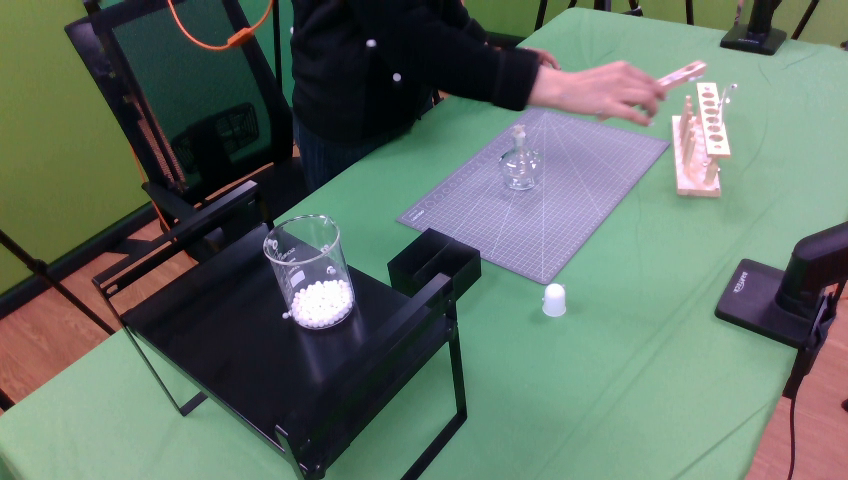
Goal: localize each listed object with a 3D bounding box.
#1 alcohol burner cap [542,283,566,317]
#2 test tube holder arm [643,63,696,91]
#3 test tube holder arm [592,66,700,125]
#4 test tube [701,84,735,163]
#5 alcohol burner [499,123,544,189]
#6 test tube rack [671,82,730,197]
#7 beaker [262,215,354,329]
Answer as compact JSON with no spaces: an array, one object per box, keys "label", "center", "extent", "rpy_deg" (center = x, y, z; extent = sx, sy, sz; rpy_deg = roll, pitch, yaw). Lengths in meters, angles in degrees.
[{"label":"alcohol burner cap","center":[0.182,0.081,0.839],"extent":[0.034,0.048,0.033],"rpy_deg":[-4,41,4]},{"label":"test tube holder arm","center":[0.352,-0.230,0.867],"extent":[0.088,0.015,0.010],"rpy_deg":[-27,46,-9]},{"label":"test tube holder arm","center":[0.315,-0.206,0.856],"extent":[0.179,0.015,0.013],"rpy_deg":[-27,46,-10]},{"label":"test tube","center":[0.483,-0.189,0.996],"extent":[0.017,0.151,0.017],"rpy_deg":[-2,46,3]},{"label":"alcohol burner","center":[0.168,-0.149,1.048],"extent":[0.078,0.119,0.077],"rpy_deg":[-6,41,6]},{"label":"test tube rack","center":[0.482,-0.184,1.067],"extent":[0.066,0.085,0.242],"rpy_deg":[6,42,14]},{"label":"beaker","center":[-0.112,0.033,0.616],"extent":[0.073,0.101,0.084],"rpy_deg":[13,44,23]}]
